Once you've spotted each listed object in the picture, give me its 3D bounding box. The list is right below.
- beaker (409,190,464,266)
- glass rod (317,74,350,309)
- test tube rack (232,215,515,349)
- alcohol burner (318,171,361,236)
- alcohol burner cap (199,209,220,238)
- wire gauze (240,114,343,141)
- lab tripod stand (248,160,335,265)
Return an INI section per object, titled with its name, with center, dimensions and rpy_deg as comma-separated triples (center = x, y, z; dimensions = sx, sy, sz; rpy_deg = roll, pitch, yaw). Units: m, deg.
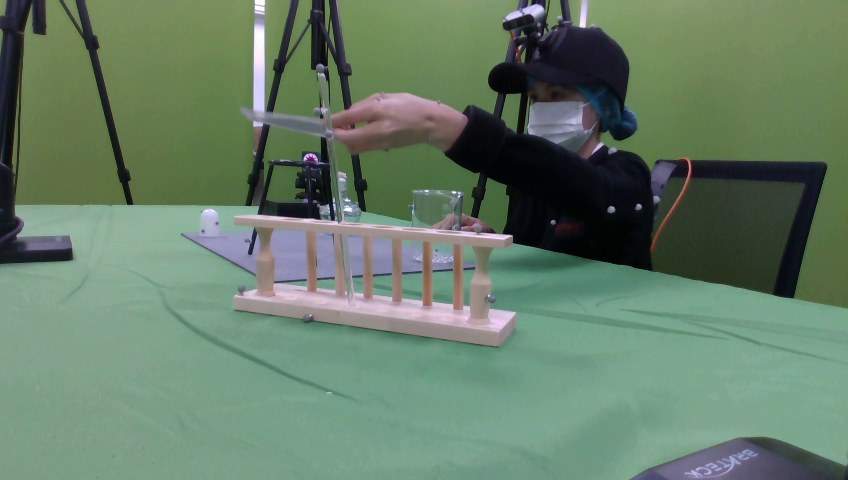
[beaker]
center = 0.018, -0.017, 0.840
dimensions = 0.074, 0.100, 0.083
rpy_deg = -3, 10, -35
[glass rod]
center = -0.075, -0.036, 0.502
dimensions = 0.008, 0.199, 0.008
rpy_deg = -5, 8, 1
[test tube rack]
center = -0.045, 0.028, 0.525
dimensions = 0.242, 0.085, 0.067
rpy_deg = 5, 8, 19
[alcohol burner]
center = -0.155, -0.066, 1.104
dimensions = 0.078, 0.119, 0.078
rpy_deg = 1, 8, 0
[alcohol burner cap]
center = -0.356, -0.027, 1.002
dimensions = 0.034, 0.048, 0.034
rpy_deg = 2, 7, 0
[wire gauze]
center = -0.166, -0.146, 0.773
dimensions = 0.122, 0.011, 0.125
rpy_deg = 7, 2, -13
[lab tripod stand]
center = -0.165, -0.041, 0.817
dimensions = 0.148, 0.131, 0.148
rpy_deg = 5, 7, 0
